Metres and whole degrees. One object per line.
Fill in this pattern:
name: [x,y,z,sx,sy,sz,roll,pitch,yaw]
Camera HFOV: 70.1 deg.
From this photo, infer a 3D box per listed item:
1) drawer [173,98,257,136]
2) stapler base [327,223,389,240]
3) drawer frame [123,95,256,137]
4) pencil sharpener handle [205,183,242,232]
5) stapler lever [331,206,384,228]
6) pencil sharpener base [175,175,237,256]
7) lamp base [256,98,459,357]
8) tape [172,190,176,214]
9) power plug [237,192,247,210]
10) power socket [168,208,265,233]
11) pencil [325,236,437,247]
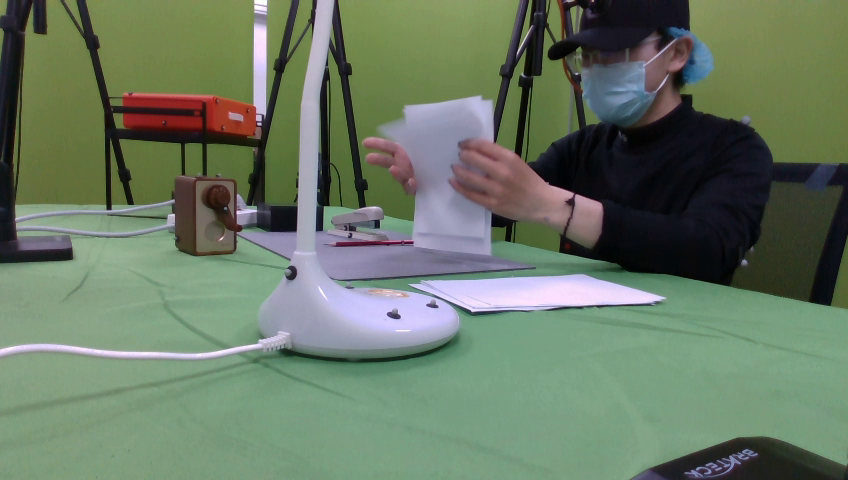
drawer: [-0.518,-0.279,1.376,0.211,0.073,0.195,3,8,10]
stapler base: [-0.117,-0.018,1.073,0.130,0.024,0.041,7,7,41]
drawer frame: [-0.524,-0.281,1.376,0.213,0.082,0.202,3,8,8]
pencil sharpener handle: [-0.265,-0.043,0.812,0.036,0.068,0.030,-32,28,-35]
stapler lever: [-0.118,-0.043,1.070,0.117,0.040,0.027,7,8,41]
pencil sharpener base: [-0.304,-0.036,0.847,0.062,0.107,0.076,-4,10,-42]
lamp base: [-0.055,-0.013,0.463,0.160,0.180,0.180,6,11,27]
tape: [-0.515,-0.087,1.388,0.117,0.052,0.117,3,7,0]
power plug: [-0.386,-0.071,1.204,0.072,0.052,0.035,7,8,26]
power socket: [-0.381,-0.038,1.129,0.072,0.032,0.227,4,8,17]
pencil: [-0.066,0.003,0.979,0.195,0.012,0.012,-3,9,-25]
